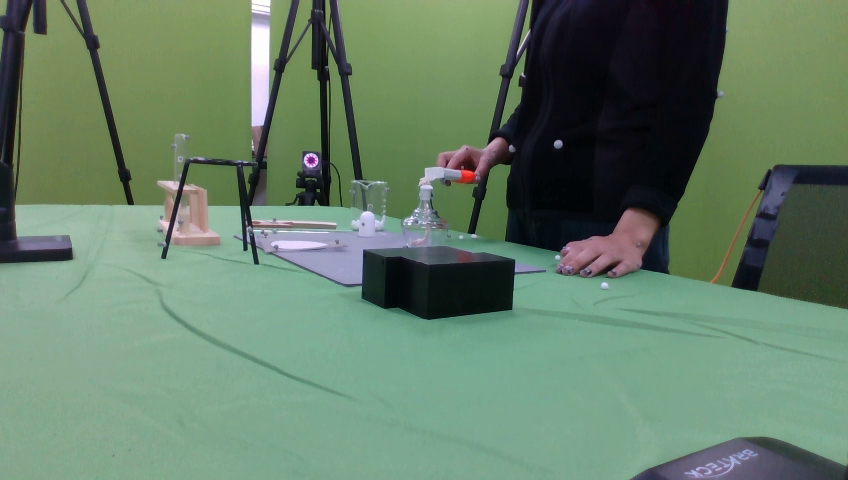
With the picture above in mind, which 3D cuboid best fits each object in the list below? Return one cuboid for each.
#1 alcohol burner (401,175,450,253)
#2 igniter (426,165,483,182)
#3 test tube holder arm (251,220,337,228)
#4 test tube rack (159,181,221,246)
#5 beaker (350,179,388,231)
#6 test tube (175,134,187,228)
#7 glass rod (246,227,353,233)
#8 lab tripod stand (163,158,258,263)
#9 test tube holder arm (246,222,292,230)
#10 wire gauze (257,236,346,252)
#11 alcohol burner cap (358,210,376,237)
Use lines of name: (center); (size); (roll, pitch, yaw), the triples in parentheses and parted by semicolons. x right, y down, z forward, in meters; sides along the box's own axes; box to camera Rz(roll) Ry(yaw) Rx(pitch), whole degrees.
alcohol burner: (0.003, -0.040, 0.933); (0.078, 0.119, 0.078); (2, 9, 0)
igniter: (0.059, -0.117, 1.076); (0.057, 0.025, 0.277); (-1, 4, 18)
test tube holder arm: (-0.253, -0.030, 1.155); (0.179, 0.015, 0.013); (-1, 41, -30)
test tube rack: (-0.395, -0.050, 1.010); (0.067, 0.085, 0.241); (-2, 8, -28)
beaker: (-0.111, -0.069, 1.204); (0.074, 0.100, 0.084); (2, 8, 0)
test tube: (-0.388, -0.094, 0.964); (0.017, 0.150, 0.017); (1, 2, 0)
glass rod: (-0.224, -0.017, 1.109); (0.201, 0.008, 0.008); (1, 7, -27)
lab tripod stand: (-0.265, -0.041, 0.802); (0.148, 0.131, 0.148); (4, 7, 0)
test tube holder arm: (-0.291, -0.026, 1.129); (0.088, 0.015, 0.010); (-1, 41, -29)
wire gauze: (-0.189, 0.005, 0.931); (0.122, 0.011, 0.124); (1, 7, -21)
alcohol burner cap: (-0.104, -0.030, 1.098); (0.034, 0.048, 0.034); (3, 7, 0)
